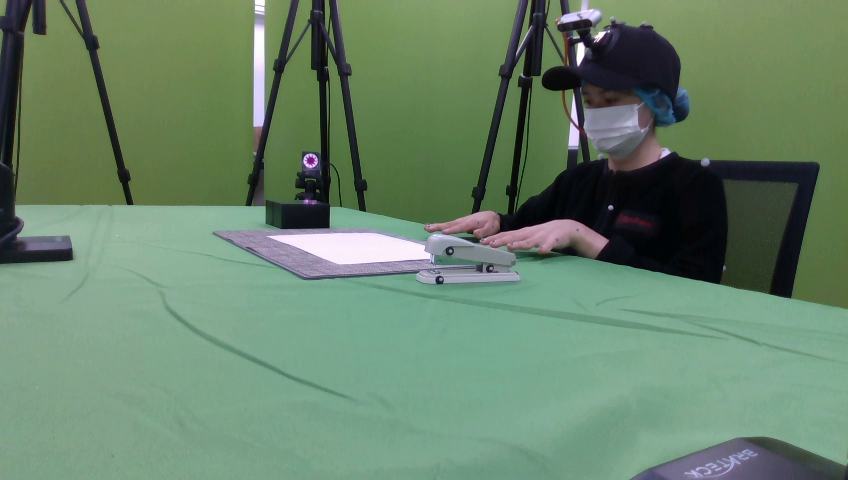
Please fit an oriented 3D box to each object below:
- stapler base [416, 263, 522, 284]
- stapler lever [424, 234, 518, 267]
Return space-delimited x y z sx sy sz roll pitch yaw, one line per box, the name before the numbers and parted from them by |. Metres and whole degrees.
stapler base | 0.055 0.038 0.733 0.131 0.024 0.041 1 8 -23
stapler lever | 0.057 0.014 0.731 0.118 0.040 0.026 1 8 -22
